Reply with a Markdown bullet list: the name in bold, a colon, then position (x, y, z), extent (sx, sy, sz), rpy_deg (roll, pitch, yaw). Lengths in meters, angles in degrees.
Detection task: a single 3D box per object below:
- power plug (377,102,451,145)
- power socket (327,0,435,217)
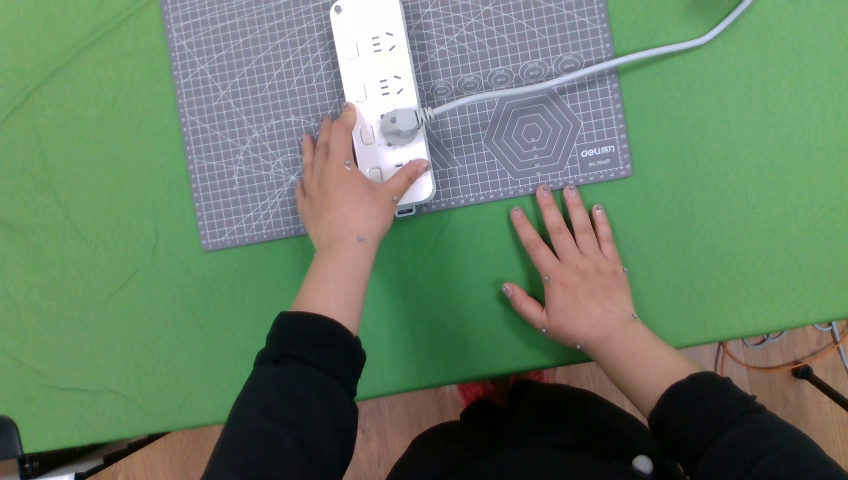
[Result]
- **power plug**: position (-0.009, -0.110, 0.583), extent (0.072, 0.052, 0.035), rpy_deg (0, 92, 4)
- **power socket**: position (-0.043, -0.136, 0.604), extent (0.072, 0.032, 0.226), rpy_deg (-11, 90, 5)
